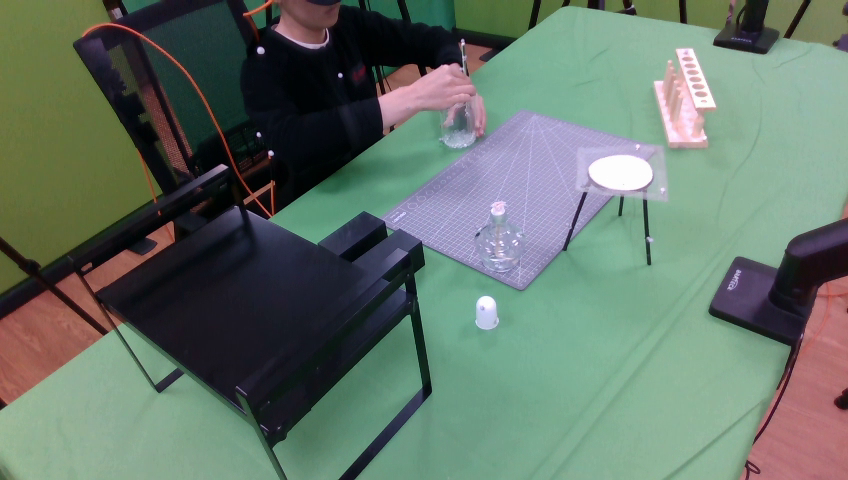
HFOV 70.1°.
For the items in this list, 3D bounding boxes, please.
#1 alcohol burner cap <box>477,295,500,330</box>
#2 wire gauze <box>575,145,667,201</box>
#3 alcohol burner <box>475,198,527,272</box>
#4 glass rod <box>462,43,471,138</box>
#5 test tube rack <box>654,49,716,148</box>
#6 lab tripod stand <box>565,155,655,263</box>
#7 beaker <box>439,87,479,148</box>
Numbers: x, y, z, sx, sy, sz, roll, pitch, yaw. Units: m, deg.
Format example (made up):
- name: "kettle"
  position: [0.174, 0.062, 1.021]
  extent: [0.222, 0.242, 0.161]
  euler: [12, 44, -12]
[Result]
- name: "alcohol burner cap"
  position: [0.089, 0.097, 0.833]
  extent: [0.034, 0.048, 0.033]
  euler: [-4, 42, 4]
- name: "wire gauze"
  position: [0.279, -0.100, 0.861]
  extent: [0.124, 0.011, 0.121]
  euler: [5, 43, 14]
- name: "alcohol burner"
  position: [0.113, -0.012, 0.897]
  extent: [0.078, 0.119, 0.077]
  euler: [-6, 40, 6]
- name: "glass rod"
  position: [0.081, -0.277, 1.142]
  extent: [0.008, 0.200, 0.008]
  euler: [-4, 43, 4]
- name: "test tube rack"
  position: [0.502, -0.281, 1.176]
  extent: [0.066, 0.085, 0.241]
  euler: [1, 41, 11]
- name: "lab tripod stand"
  position: [0.285, -0.046, 0.901]
  extent: [0.148, 0.132, 0.147]
  euler: [-5, 42, 5]
- name: "beaker"
  position: [0.073, -0.239, 1.184]
  extent: [0.073, 0.101, 0.084]
  euler: [30, 53, 35]
